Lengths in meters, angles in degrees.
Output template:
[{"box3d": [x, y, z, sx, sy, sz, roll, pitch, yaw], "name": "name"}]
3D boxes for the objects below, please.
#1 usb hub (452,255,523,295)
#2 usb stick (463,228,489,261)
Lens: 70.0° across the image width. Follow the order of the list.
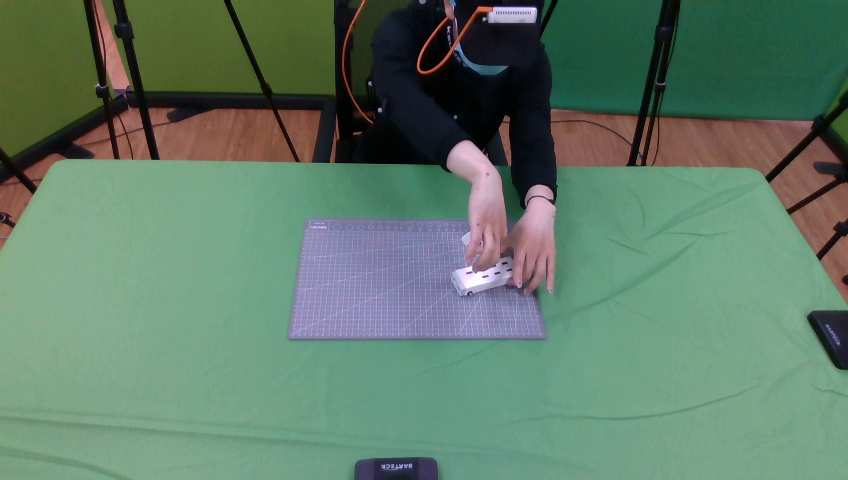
[{"box3d": [0.119, 0.065, 1.132, 0.125, 0.025, 0.049, -14, 49, -15], "name": "usb hub"}, {"box3d": [0.098, 0.010, 1.099, 0.021, 0.027, 0.059, -42, 102, -40], "name": "usb stick"}]
